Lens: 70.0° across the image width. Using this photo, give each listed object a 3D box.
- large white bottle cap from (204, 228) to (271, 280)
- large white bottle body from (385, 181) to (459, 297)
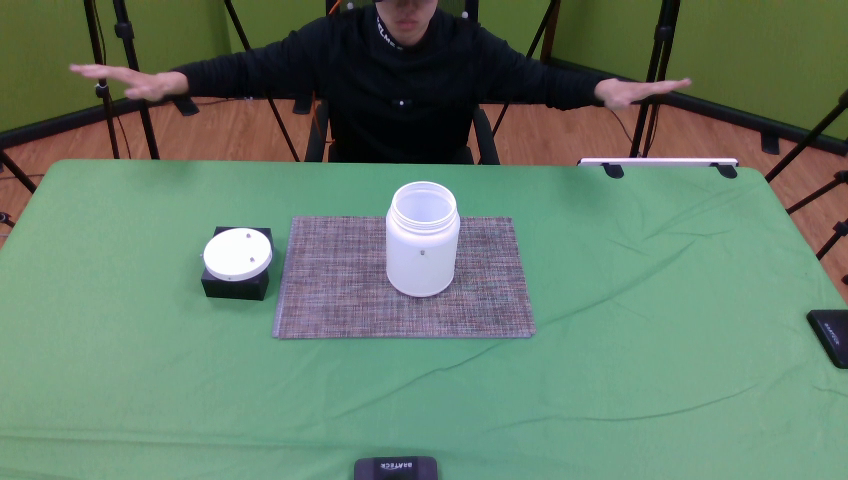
[{"bbox_3d":[-0.333,0.024,1.084,0.115,0.018,0.114,2,46,-2],"label":"large white bottle cap"},{"bbox_3d":[-0.004,-0.003,1.082,0.131,0.185,0.130,2,46,-2],"label":"large white bottle body"}]
